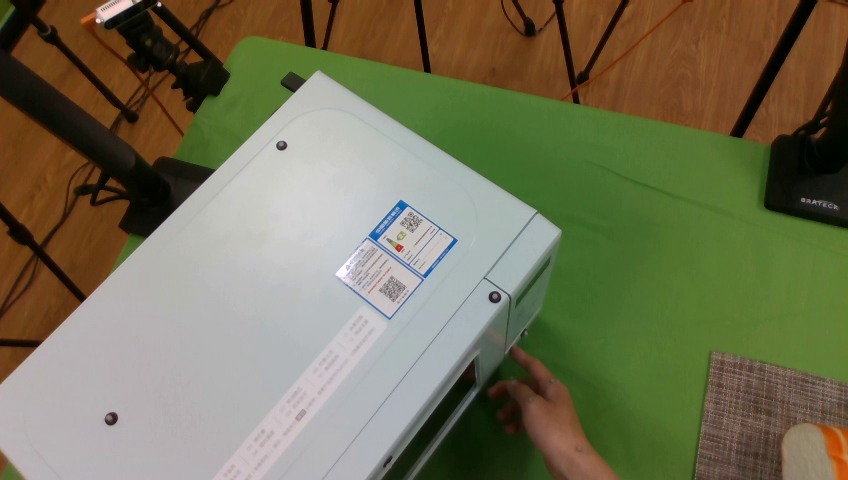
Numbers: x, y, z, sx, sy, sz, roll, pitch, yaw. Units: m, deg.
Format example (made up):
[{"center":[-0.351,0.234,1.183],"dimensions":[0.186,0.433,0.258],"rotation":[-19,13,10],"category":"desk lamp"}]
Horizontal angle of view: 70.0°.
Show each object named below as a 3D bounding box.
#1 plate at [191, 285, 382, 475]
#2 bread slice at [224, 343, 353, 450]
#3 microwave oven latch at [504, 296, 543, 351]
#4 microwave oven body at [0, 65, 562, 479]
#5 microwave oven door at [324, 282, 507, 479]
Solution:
[{"center":[-0.149,0.153,0.673],"dimensions":[0.208,0.039,0.206],"rotation":[0,65,1],"category":"plate"},{"center":[-0.150,0.179,0.669],"dimensions":[0.134,0.018,0.106],"rotation":[-10,65,-10],"category":"bread slice"},{"center":[0.108,0.092,0.718],"dimensions":[0.030,0.030,0.079],"rotation":[37,76,18],"category":"microwave oven latch"},{"center":[-0.127,0.104,0.630],"dimensions":[0.324,0.262,0.441],"rotation":[35,75,18],"category":"microwave oven body"},{"center":[-0.040,0.212,0.570],"dimensions":[0.039,0.246,0.355],"rotation":[35,74,19],"category":"microwave oven door"}]
